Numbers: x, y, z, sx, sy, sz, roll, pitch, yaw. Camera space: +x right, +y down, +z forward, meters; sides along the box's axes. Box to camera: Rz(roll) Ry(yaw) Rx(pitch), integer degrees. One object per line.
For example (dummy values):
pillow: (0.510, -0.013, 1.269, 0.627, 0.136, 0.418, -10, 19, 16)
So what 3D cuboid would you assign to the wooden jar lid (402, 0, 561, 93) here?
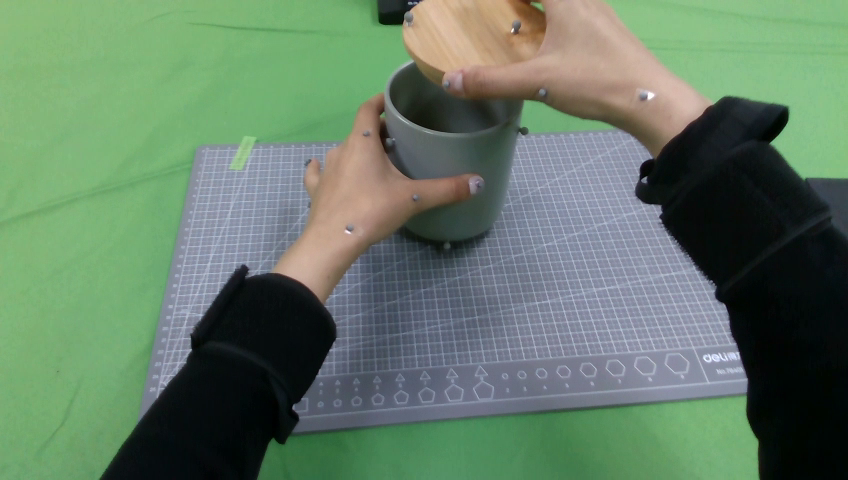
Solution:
wooden jar lid: (0.038, -0.136, 0.415, 0.108, 0.021, 0.107, 1, 50, -1)

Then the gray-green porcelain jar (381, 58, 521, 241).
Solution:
gray-green porcelain jar: (0.018, -0.070, 0.498, 0.106, 0.127, 0.105, 2, 50, -1)
